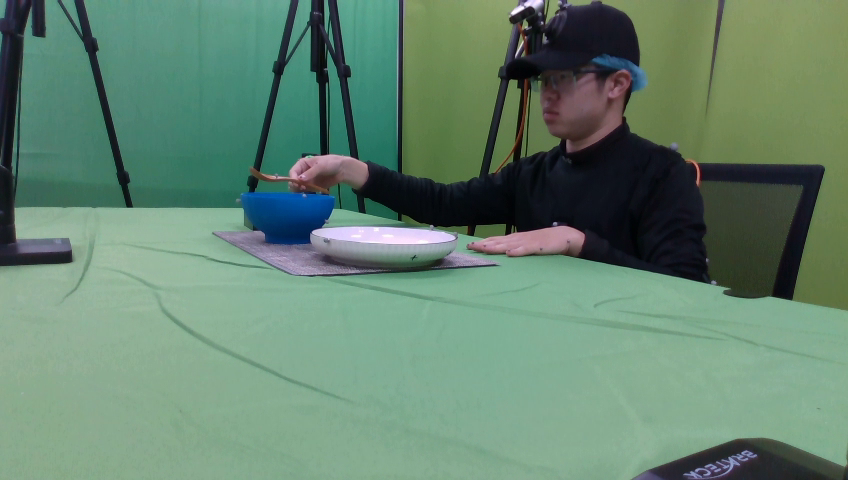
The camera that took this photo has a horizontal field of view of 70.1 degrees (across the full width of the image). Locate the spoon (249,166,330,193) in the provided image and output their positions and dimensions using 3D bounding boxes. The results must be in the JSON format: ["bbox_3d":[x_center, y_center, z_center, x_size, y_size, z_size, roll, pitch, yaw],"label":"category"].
[{"bbox_3d":[-0.262,-0.118,1.206,0.195,0.021,0.041,9,11,-46],"label":"spoon"}]

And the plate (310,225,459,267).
[{"bbox_3d":[-0.055,0.008,0.851,0.208,0.039,0.207,2,7,0],"label":"plate"}]

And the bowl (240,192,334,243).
[{"bbox_3d":[-0.223,-0.037,0.992,0.151,0.077,0.151,2,7,0],"label":"bowl"}]
